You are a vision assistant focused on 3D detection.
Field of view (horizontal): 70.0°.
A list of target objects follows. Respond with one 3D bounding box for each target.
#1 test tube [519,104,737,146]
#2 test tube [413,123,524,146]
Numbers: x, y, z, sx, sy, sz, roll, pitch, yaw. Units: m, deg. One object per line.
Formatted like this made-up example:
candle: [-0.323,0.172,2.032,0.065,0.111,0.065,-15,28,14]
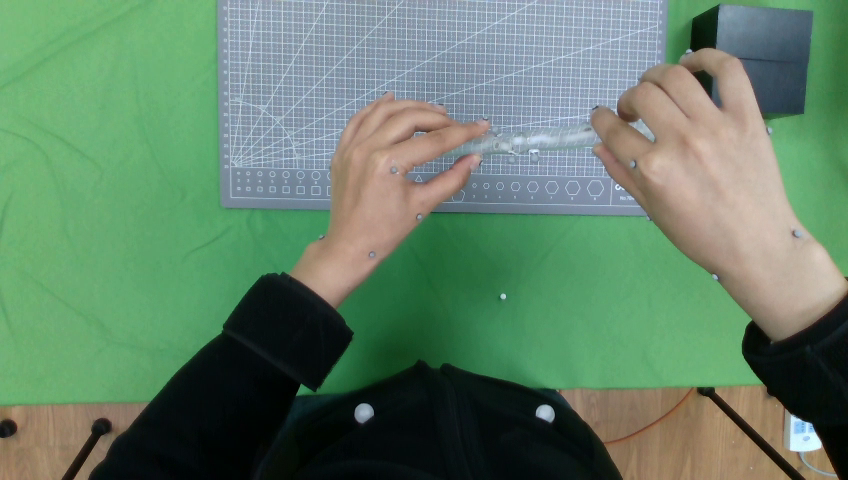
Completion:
test tube: [0.140,-0.079,0.415,0.150,0.017,0.017,-5,97,-1]
test tube: [0.030,-0.083,0.481,0.017,0.149,0.017,-5,100,-28]
